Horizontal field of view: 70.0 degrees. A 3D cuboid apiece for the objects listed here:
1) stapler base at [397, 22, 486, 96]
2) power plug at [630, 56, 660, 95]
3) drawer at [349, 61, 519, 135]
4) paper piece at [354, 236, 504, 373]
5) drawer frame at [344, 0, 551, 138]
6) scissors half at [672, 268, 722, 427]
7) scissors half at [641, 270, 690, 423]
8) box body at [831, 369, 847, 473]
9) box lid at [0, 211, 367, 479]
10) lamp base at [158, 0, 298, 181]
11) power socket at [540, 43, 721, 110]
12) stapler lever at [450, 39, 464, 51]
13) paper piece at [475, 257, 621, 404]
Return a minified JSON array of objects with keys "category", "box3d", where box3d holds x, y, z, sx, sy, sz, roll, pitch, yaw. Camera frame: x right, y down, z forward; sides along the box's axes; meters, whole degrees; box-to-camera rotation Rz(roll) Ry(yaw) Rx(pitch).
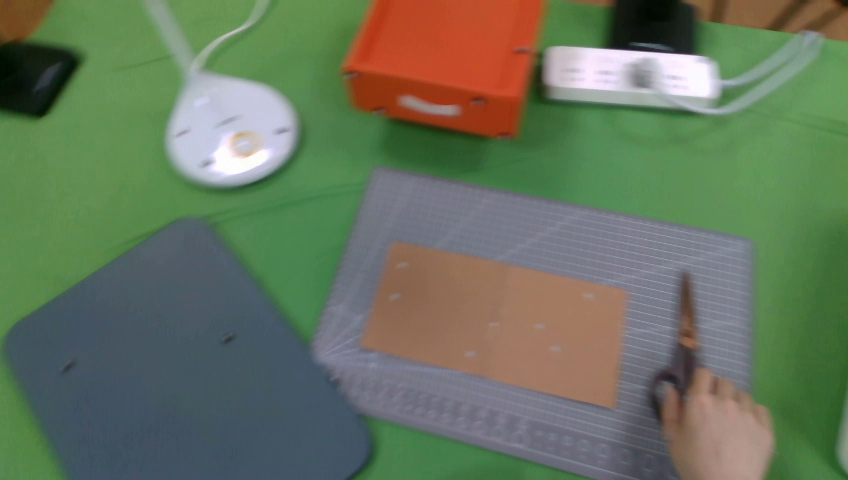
[{"category":"stapler base","box3d":[0.019,-0.227,0.744,0.041,0.024,0.129,-47,67,-2]},{"category":"power plug","box3d":[0.270,-0.196,0.748,0.035,0.053,0.072,17,65,11]},{"category":"drawer","box3d":[0.038,-0.244,0.731,0.194,0.074,0.210,13,64,10]},{"category":"paper piece","box3d":[0.007,0.066,0.664,0.135,0.009,0.137,11,65,12]},{"category":"drawer frame","box3d":[0.036,-0.246,0.732,0.201,0.083,0.212,13,64,10]},{"category":"scissors half","box3d":[0.277,0.106,0.628,0.040,0.013,0.173,-4,58,13]},{"category":"scissors half","box3d":[0.259,0.105,0.635,0.040,0.013,0.174,9,62,27]},{"category":"box body","box3d":[0.559,0.091,0.543,0.253,0.161,0.362,25,67,14]},{"category":"box lid","box3d":[-0.259,0.156,0.630,0.263,0.015,0.368,-37,67,-14]},{"category":"lamp base","box3d":[-0.253,-0.187,0.708,0.160,0.182,0.177,-38,65,-16]},{"category":"power socket","box3d":[0.266,-0.212,0.782,0.226,0.033,0.071,7,64,6]},{"category":"stapler lever","box3d":[0.009,-0.236,0.720,0.027,0.040,0.117,-47,65,-2]},{"category":"paper piece","box3d":[0.135,0.092,0.644,0.135,0.004,0.135,14,65,9]}]
